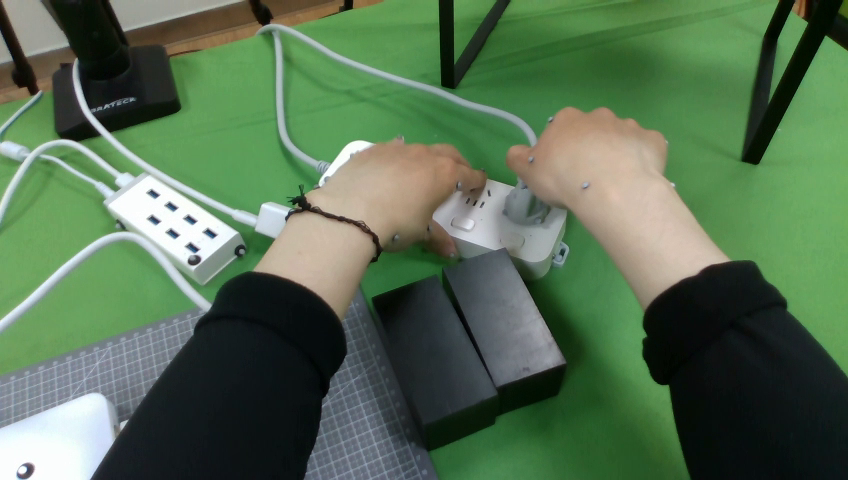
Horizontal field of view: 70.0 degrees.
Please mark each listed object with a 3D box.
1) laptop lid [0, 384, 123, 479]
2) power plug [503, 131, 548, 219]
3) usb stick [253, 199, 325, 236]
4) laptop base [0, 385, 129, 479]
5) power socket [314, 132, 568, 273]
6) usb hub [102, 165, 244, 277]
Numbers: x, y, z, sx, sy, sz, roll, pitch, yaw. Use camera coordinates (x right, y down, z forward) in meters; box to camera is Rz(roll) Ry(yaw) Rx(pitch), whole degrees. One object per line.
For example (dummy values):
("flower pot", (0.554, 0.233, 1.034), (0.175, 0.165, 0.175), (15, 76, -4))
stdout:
("laptop lid", (-0.330, 0.243, 0.318), (0.357, 0.013, 0.239), (-20, 57, -12))
("power plug", (0.092, -0.045, 0.493), (0.035, 0.053, 0.072), (29, 61, 24))
("usb stick", (-0.112, -0.018, 0.510), (0.059, 0.021, 0.027), (9, 98, -6))
("laptop base", (-0.330, 0.249, 0.328), (0.355, 0.023, 0.233), (-22, 59, -13))
("power socket", (0.012, -0.035, 0.515), (0.225, 0.033, 0.072), (19, 56, 17))
("usb hub", (-0.216, -0.019, 0.518), (0.124, 0.025, 0.049), (30, 60, 23))
